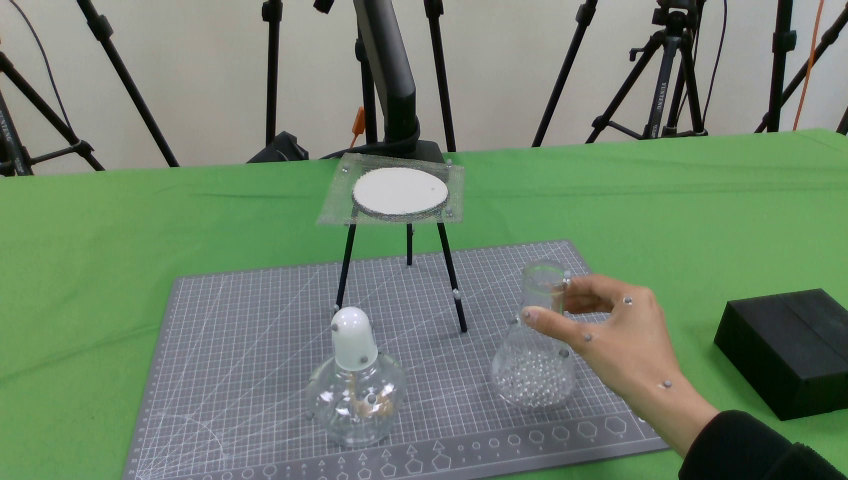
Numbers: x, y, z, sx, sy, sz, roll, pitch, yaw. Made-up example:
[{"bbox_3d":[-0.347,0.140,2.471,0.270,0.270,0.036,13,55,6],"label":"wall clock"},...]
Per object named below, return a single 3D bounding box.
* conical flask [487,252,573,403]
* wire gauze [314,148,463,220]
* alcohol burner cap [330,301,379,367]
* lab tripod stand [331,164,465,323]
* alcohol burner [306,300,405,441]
[{"bbox_3d":[0.093,0.069,0.500,0.075,0.123,0.074,1,35,0],"label":"conical flask"},{"bbox_3d":[-0.026,-0.051,0.545,0.121,0.011,0.124,3,35,2],"label":"wire gauze"},{"bbox_3d":[-0.053,0.067,0.444,0.034,0.048,0.033,-4,38,4],"label":"alcohol burner cap"},{"bbox_3d":[-0.020,0.005,0.583,0.148,0.132,0.147,2,34,-1],"label":"lab tripod stand"},{"bbox_3d":[-0.053,0.096,0.465,0.078,0.120,0.077,0,33,0],"label":"alcohol burner"}]
